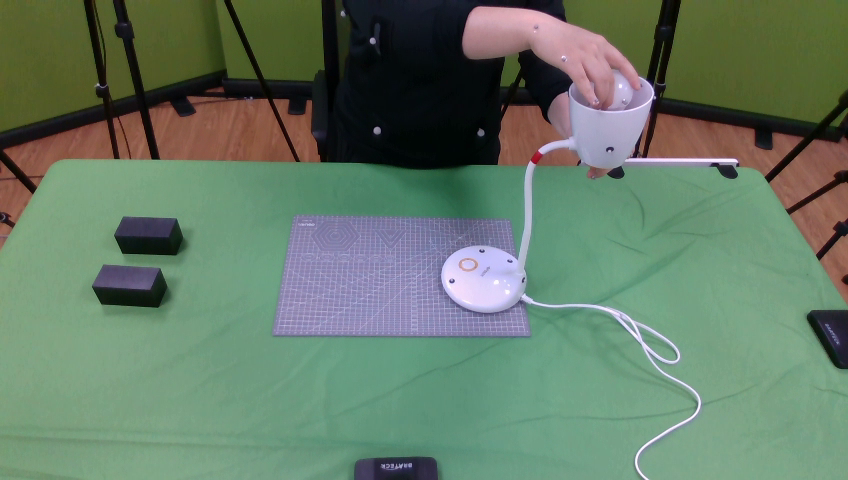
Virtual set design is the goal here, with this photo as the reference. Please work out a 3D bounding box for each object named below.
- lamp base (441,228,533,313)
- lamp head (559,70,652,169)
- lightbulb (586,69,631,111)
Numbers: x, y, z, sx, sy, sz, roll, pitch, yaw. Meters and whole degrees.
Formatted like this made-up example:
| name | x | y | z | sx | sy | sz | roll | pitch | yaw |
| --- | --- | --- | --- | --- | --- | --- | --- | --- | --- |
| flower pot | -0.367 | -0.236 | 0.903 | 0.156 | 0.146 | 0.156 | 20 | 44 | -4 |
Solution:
| name | x | y | z | sx | sy | sz | roll | pitch | yaw |
| --- | --- | --- | --- | --- | --- | --- | --- | --- | --- |
| lamp base | 0.126 | 0.022 | 1.071 | 0.179 | 0.181 | 0.160 | 23 | 49 | 13 |
| lamp head | 0.252 | -0.162 | 0.859 | 0.112 | 0.123 | 0.111 | 0 | 43 | 0 |
| lightbulb | 0.255 | -0.184 | 0.846 | 0.059 | 0.108 | 0.059 | -3 | 35 | 3 |
